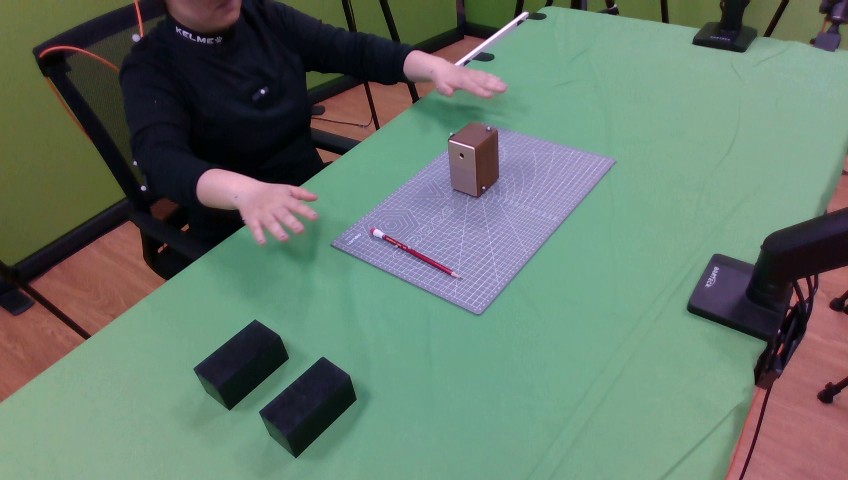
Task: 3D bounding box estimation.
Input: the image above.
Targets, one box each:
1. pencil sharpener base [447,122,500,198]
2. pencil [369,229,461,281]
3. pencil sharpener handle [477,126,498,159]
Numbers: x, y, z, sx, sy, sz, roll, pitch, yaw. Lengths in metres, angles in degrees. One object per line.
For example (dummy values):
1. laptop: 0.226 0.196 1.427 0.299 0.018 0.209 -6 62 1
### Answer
1. pencil sharpener base: 0.089 -0.140 1.052 0.061 0.107 0.077 22 48 31
2. pencil: -0.017 0.022 0.952 0.192 0.012 0.012 28 51 33
3. pencil sharpener handle: 0.119 -0.178 1.073 0.035 0.068 0.031 22 48 31
